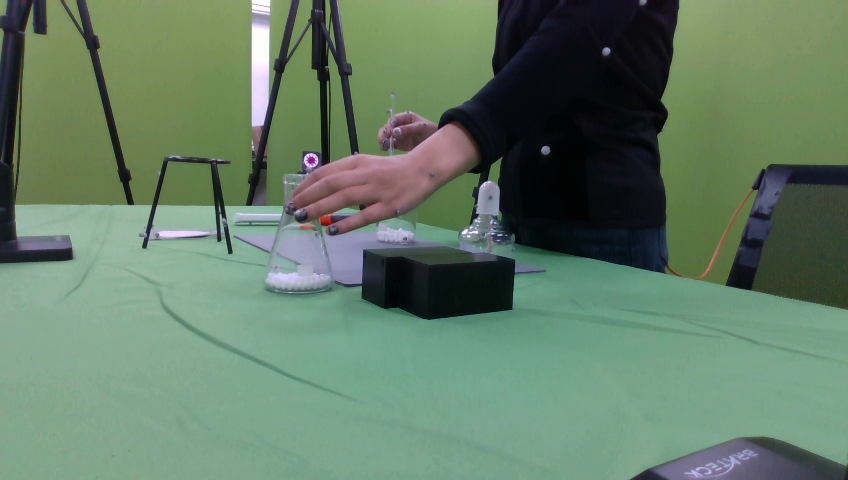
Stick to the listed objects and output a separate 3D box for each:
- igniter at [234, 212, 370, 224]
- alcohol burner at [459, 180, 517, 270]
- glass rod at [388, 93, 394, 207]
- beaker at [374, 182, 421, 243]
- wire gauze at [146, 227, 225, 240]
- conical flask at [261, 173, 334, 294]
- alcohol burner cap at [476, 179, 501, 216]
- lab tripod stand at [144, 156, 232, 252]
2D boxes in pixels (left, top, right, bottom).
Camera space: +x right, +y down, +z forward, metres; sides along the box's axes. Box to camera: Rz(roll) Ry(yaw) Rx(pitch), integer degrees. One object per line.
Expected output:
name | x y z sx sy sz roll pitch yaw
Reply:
igniter | -0.247 -0.046 1.253 0.278 0.025 0.057 -1 -3 -27
alcohol burner | 0.086 -0.021 0.805 0.078 0.119 0.078 3 9 0
glass rod | -0.056 -0.155 1.035 0.008 0.199 0.008 1 -5 0
beaker | -0.049 -0.048 1.031 0.083 0.100 0.074 5 7 24
wire gauze | -0.400 -0.012 1.019 0.122 0.011 0.124 -1 6 -26
conical flask | -0.131 -0.009 0.633 0.075 0.122 0.075 3 8 0
alcohol burner cap | 0.086 -0.056 0.801 0.034 0.048 0.034 5 2 0
lab tripod stand | -0.325 -0.054 0.881 0.148 0.131 0.148 4 7 0
